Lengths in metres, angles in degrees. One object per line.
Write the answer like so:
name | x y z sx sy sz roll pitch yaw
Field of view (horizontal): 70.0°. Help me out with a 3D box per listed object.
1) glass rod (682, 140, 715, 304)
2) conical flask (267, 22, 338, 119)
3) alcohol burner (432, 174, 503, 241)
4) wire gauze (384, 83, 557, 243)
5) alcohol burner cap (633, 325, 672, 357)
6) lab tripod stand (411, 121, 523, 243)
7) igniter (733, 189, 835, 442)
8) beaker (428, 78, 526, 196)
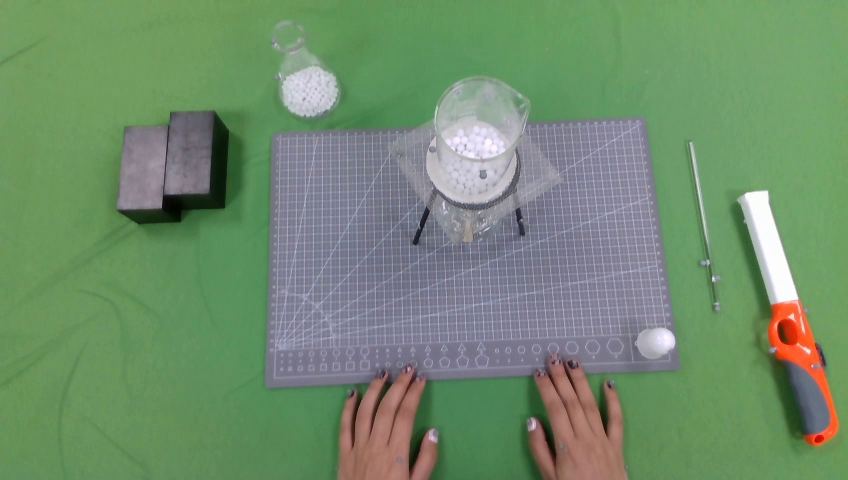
glass rod | 0.318 -0.025 0.701 0.008 0.008 0.198 -3 75 -1
conical flask | -0.144 -0.195 0.688 0.075 0.122 0.075 0 75 1
alcohol burner | 0.048 -0.041 0.649 0.078 0.119 0.077 0 73 -1
wire gauze | 0.044 -0.075 0.580 0.125 0.011 0.121 -31 81 -9
alcohol burner cap | 0.247 0.106 0.647 0.034 0.048 0.033 0 75 1
lab tripod stand | 0.045 -0.053 0.642 0.148 0.132 0.147 0 77 1
igniter | 0.393 0.077 0.664 0.057 0.025 0.275 -6 75 -12
beaker | 0.045 -0.086 0.533 0.084 0.100 0.073 -23 77 -6
